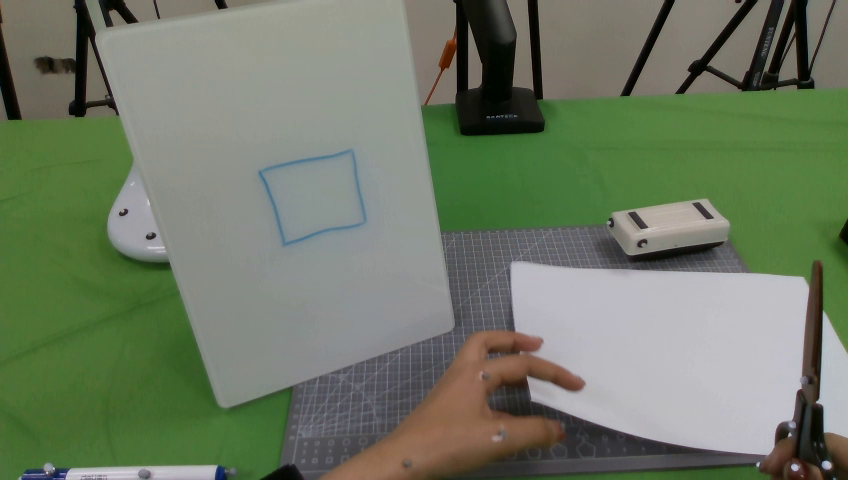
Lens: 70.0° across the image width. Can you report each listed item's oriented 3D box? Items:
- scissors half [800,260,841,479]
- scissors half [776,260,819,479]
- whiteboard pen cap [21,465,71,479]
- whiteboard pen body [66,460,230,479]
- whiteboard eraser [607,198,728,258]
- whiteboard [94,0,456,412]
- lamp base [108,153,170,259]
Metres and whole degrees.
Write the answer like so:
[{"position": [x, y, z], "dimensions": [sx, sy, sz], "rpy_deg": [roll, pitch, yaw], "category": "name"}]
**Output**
[{"position": [0.233, 0.098, 0.359], "dimensions": [0.013, 0.175, 0.040], "rpy_deg": [-6, 5, 11], "category": "scissors half"}, {"position": [0.235, 0.094, 0.378], "dimensions": [0.013, 0.176, 0.040], "rpy_deg": [-7, 21, 5], "category": "scissors half"}, {"position": [-0.275, 0.174, 0.446], "dimensions": [0.033, 0.018, 0.018], "rpy_deg": [-1, 39, -4], "category": "whiteboard pen cap"}, {"position": [-0.216, 0.173, 0.449], "dimensions": [0.141, 0.017, 0.017], "rpy_deg": [0, 39, -2], "category": "whiteboard pen body"}, {"position": [0.258, -0.011, 0.645], "dimensions": [0.113, 0.042, 0.055], "rpy_deg": [-8, 41, -8], "category": "whiteboard eraser"}, {"position": [-0.116, -0.045, 0.539], "dimensions": [0.218, 0.307, 0.142], "rpy_deg": [-16, 22, -16], "category": "whiteboard"}, {"position": [-0.291, -0.096, 0.659], "dimensions": [0.177, 0.182, 0.160], "rpy_deg": [25, 46, 32], "category": "lamp base"}]
